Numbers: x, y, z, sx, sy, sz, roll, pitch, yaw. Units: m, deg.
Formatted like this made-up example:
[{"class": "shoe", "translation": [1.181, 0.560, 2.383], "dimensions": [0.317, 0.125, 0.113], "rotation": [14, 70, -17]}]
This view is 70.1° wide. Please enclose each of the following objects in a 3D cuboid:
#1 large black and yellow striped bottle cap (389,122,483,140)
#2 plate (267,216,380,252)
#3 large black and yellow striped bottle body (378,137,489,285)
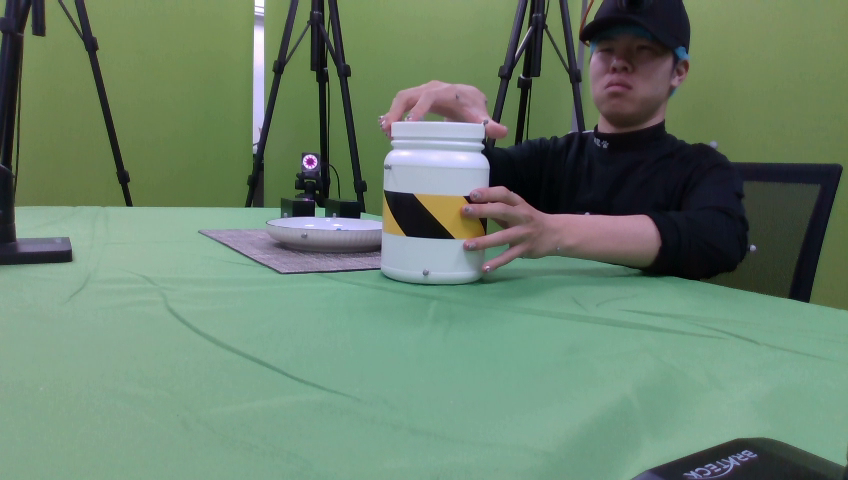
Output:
[{"class": "large black and yellow striped bottle cap", "translation": [0.015, -0.131, 0.732], "dimensions": [0.115, 0.019, 0.115], "rotation": [2, 8, 0]}, {"class": "plate", "translation": [-0.145, -0.010, 0.967], "dimensions": [0.208, 0.039, 0.207], "rotation": [2, 7, 0]}, {"class": "large black and yellow striped bottle body", "translation": [0.012, -0.044, 0.746], "dimensions": [0.131, 0.184, 0.130], "rotation": [3, 7, 0]}]
